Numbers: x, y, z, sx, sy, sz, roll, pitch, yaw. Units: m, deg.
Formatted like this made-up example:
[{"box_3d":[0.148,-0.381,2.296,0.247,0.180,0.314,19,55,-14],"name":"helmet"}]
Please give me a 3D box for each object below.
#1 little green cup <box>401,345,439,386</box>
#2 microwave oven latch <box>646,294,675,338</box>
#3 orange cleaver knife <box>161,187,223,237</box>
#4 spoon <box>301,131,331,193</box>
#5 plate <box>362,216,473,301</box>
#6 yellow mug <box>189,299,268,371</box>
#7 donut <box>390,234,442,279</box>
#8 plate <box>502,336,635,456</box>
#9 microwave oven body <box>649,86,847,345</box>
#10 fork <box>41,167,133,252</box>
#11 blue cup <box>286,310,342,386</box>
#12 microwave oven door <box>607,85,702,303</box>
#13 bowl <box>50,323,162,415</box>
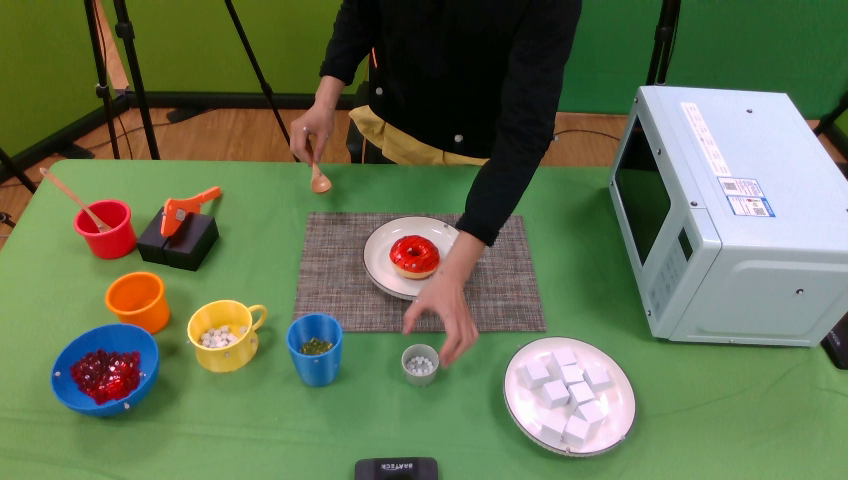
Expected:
[{"box_3d":[-0.007,0.206,0.988,0.061,0.039,0.061,2,46,-2],"name":"little green cup"},{"box_3d":[0.412,0.134,1.061,0.030,0.029,0.078,4,45,1],"name":"microwave oven latch"},{"box_3d":[-0.448,-0.058,1.181,0.012,0.077,0.211,13,17,6],"name":"orange cleaver knife"},{"box_3d":[-0.230,-0.164,1.255,0.041,0.022,0.192,-16,57,-8],"name":"spoon"},{"box_3d":[-0.012,0.038,1.144,0.209,0.038,0.208,2,46,-2],"name":"plate"},{"box_3d":[-0.316,0.148,1.002,0.131,0.064,0.099,-32,56,-31],"name":"yellow mug"},{"box_3d":[-0.016,0.031,1.135,0.099,0.048,0.098,3,45,-3],"name":"donut"},{"box_3d":[0.225,0.248,0.963,0.208,0.039,0.206,2,46,-2],"name":"plate"},{"box_3d":[0.568,-0.053,1.118,0.326,0.261,0.439,2,45,-1],"name":"microwave oven body"},{"box_3d":[-0.624,-0.055,1.121,0.208,0.018,0.028,50,51,-15],"name":"fork"},{"box_3d":[-0.169,0.179,0.958,0.093,0.101,0.092,1,44,-1],"name":"blue cup"},{"box_3d":[0.423,-0.094,1.140,0.039,0.245,0.353,2,46,-1],"name":"microwave oven door"},{"box_3d":[-0.472,0.209,0.924,0.151,0.077,0.150,2,45,-2],"name":"bowl"}]
